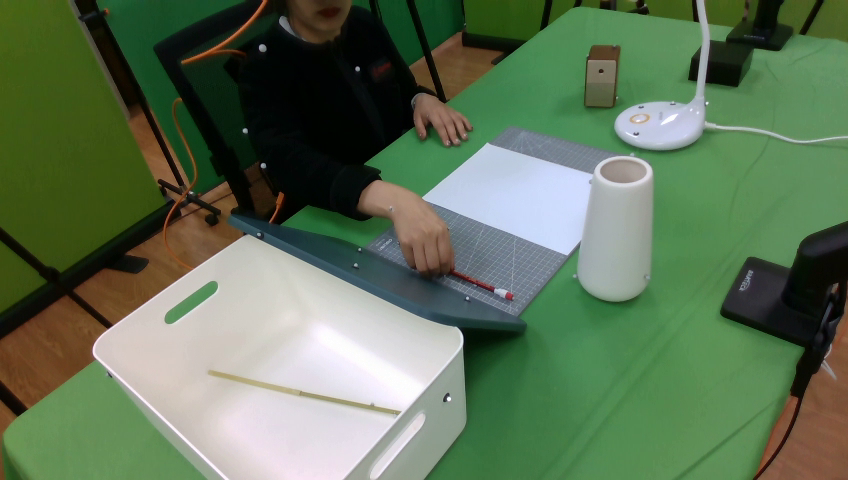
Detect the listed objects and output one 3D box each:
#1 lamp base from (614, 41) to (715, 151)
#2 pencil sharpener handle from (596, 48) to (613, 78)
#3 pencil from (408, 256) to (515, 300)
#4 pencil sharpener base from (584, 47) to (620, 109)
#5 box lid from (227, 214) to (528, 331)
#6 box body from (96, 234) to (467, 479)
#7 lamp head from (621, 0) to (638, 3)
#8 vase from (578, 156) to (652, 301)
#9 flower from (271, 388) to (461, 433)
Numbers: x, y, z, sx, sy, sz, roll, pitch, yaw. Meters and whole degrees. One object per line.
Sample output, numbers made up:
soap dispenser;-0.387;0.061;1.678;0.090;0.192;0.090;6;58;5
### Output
lamp base;0.449;-0.277;1.106;0.179;0.181;0.160;1;41;9
pencil sharpener handle;0.383;-0.378;1.276;0.036;0.068;0.030;3;41;22
pencil;0.052;0.054;0.917;0.192;0.012;0.012;20;48;31
pencil sharpener base;0.367;-0.336;1.248;0.061;0.107;0.076;6;42;19
box lid;-0.062;0.044;0.813;0.368;0.265;0.015;22;93;32
box body;-0.155;0.169;0.707;0.361;0.161;0.255;23;49;33
lamp head;0.319;-0.453;0.962;0.113;0.123;0.112;20;33;-13
vase;0.261;-0.011;0.812;0.098;0.201;0.097;-4;40;4
flower;-0.122;0.202;0.770;0.360;0.038;0.044;2;77;22
